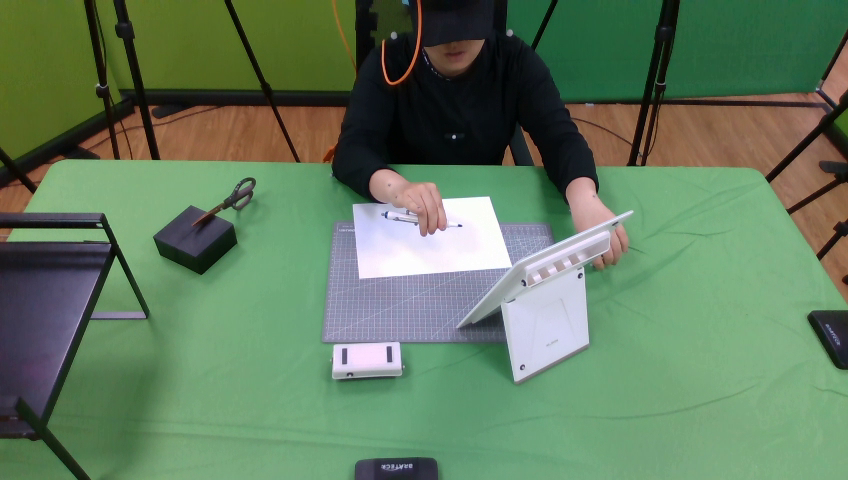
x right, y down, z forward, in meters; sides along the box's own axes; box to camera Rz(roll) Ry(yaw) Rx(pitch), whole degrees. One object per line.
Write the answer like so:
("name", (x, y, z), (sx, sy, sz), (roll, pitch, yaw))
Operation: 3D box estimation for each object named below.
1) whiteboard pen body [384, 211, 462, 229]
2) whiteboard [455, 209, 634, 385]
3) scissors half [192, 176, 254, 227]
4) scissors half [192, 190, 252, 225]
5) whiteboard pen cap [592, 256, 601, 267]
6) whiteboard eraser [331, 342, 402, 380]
("whiteboard pen body", (-0.003, -0.034, 1.064), (0.140, 0.017, 0.017), (9, 46, 8))
("whiteboard", (0.211, 0.110, 0.955), (0.217, 0.306, 0.143), (-21, 72, -23))
("scissors half", (-0.388, -0.075, 1.175), (0.013, 0.040, 0.174), (29, 47, 8))
("scissors half", (-0.393, -0.060, 1.187), (0.013, 0.040, 0.175), (25, 29, 12))
("whiteboard pen cap", (0.336, 0.039, 1.179), (0.018, 0.033, 0.018), (-11, 48, 12))
("whiteboard eraser", (-0.094, 0.198, 0.986), (0.113, 0.042, 0.055), (-2, 44, -6))
